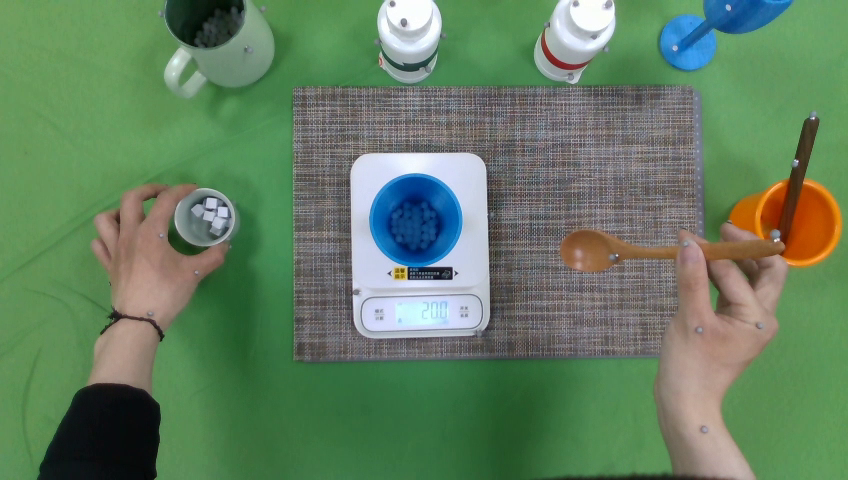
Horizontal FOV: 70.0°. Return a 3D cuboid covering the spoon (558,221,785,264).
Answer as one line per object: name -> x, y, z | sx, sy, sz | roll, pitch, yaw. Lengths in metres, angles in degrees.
spoon -> 0.183, 0.003, 0.481 | 0.022, 0.192, 0.042 | -24, 103, -30

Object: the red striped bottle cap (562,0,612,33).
red striped bottle cap -> 0.154, -0.221, 0.573 | 0.044, 0.018, 0.044 | 0, 85, -2

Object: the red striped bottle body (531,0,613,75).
red striped bottle body -> 0.153, -0.219, 0.626 | 0.063, 0.119, 0.063 | 0, 88, -2

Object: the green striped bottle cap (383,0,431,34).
green striped bottle cap -> -0.016, -0.217, 0.564 | 0.044, 0.020, 0.044 | 0, 88, 0

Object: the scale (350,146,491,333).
scale -> -0.003, 0.000, 0.654 | 0.149, 0.031, 0.200 | -2, 89, -2

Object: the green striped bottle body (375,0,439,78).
green striped bottle body -> -0.017, -0.213, 0.620 | 0.063, 0.119, 0.063 | 0, 88, -2

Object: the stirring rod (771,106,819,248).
stirring rod -> 0.376, -0.058, 0.620 | 0.014, 0.005, 0.178 | -15, 131, -1

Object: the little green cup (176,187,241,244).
little green cup -> -0.227, -0.025, 0.647 | 0.061, 0.038, 0.061 | 0, 88, -2

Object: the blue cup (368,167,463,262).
blue cup -> -0.009, -0.022, 0.589 | 0.093, 0.100, 0.092 | 0, 90, -2

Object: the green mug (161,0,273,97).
green mug -> -0.219, -0.201, 0.620 | 0.092, 0.105, 0.125 | 34, 87, 0

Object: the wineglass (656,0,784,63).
wineglass -> 0.298, -0.237, 0.605 | 0.074, 0.172, 0.073 | 0, 87, -1
